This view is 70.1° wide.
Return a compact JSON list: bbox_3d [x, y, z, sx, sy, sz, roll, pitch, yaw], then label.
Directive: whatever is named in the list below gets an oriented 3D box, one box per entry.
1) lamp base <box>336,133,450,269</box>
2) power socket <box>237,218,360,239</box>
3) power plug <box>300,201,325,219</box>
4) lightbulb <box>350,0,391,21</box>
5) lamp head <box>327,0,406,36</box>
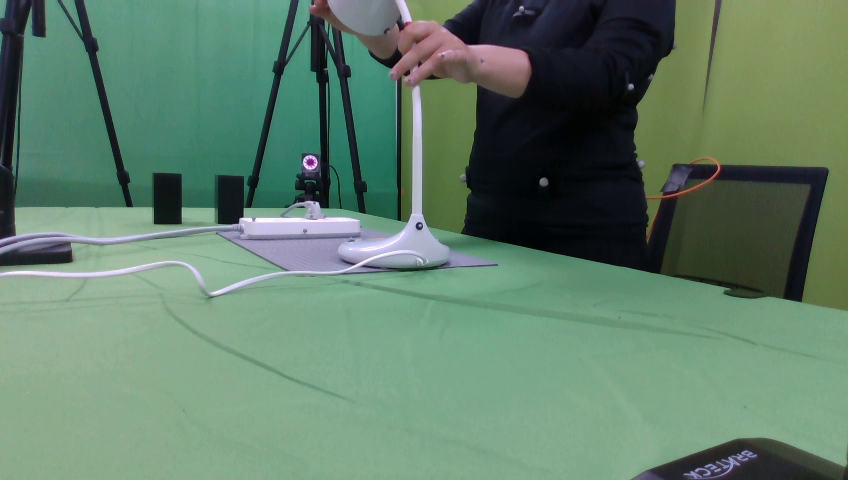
[{"bbox_3d":[-0.032,-0.057,0.830,0.161,0.180,0.178,-2,12,-34],"label":"lamp base"},{"bbox_3d":[-0.220,-0.023,1.080,0.228,0.032,0.072,-2,8,-33],"label":"power socket"},{"bbox_3d":[-0.207,-0.046,1.120,0.035,0.052,0.072,1,4,-21],"label":"power plug"},{"bbox_3d":[-0.072,-0.358,0.859,0.060,0.059,0.107,1,-18,-16],"label":"lightbulb"},{"bbox_3d":[-0.064,-0.358,0.835,0.113,0.112,0.122,-1,-12,-28],"label":"lamp head"}]
